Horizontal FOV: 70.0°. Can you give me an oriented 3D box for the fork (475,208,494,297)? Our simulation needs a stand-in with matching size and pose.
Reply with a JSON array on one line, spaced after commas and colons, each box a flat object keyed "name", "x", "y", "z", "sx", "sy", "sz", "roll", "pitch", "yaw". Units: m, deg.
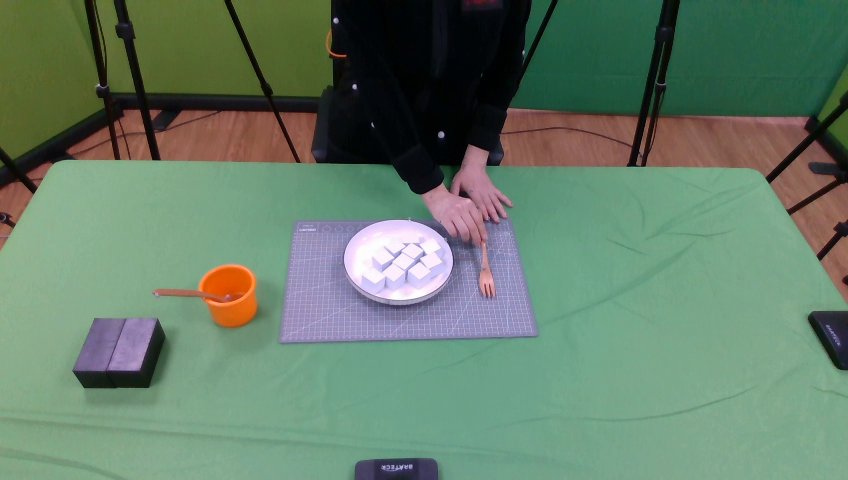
[{"name": "fork", "x": 0.113, "y": 0.021, "z": 1.168, "sx": 0.028, "sy": 0.019, "sz": 0.206, "roll": 1, "pitch": 58, "yaw": -7}]

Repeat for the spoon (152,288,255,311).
[{"name": "spoon", "x": -0.356, "y": 0.092, "z": 0.992, "sx": 0.021, "sy": 0.195, "sz": 0.041, "roll": -47, "pitch": 59, "yaw": 13}]

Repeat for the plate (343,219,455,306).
[{"name": "plate", "x": -0.047, "y": 0.045, "z": 1.136, "sx": 0.208, "sy": 0.039, "sz": 0.206, "roll": 2, "pitch": 46, "yaw": -2}]
